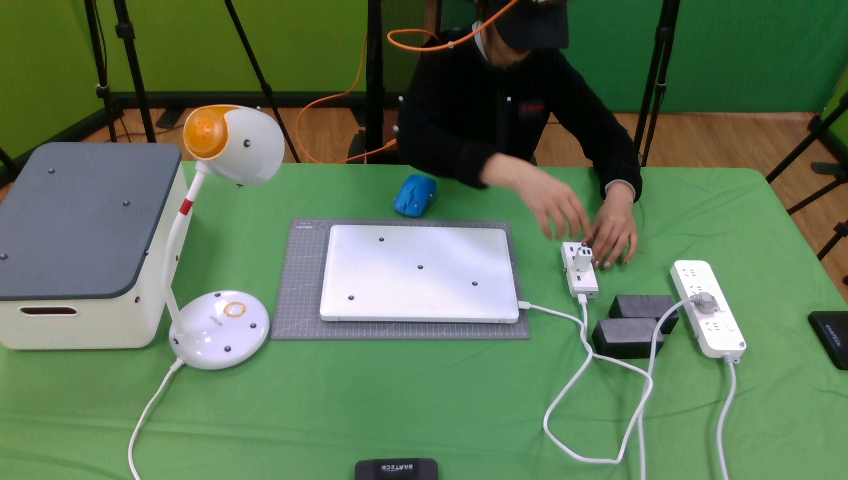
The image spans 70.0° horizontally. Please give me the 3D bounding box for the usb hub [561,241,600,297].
[{"bbox_3d":[0.300,0.055,1.162,0.049,0.025,0.124,3,46,-3],"label":"usb hub"}]

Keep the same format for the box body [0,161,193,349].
[{"bbox_3d":[-0.570,0.006,1.054,0.254,0.161,0.361,-1,46,-4],"label":"box body"}]

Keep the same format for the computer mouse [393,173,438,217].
[{"bbox_3d":[-0.018,-0.099,1.282,0.062,0.041,0.117,20,52,13],"label":"computer mouse"}]

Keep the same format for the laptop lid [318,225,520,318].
[{"bbox_3d":[-0.008,0.053,1.131,0.357,0.013,0.240,2,43,-2],"label":"laptop lid"}]

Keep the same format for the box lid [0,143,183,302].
[{"bbox_3d":[-0.567,-0.045,0.999,0.263,0.015,0.369,-1,46,-4],"label":"box lid"}]

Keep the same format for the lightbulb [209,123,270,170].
[{"bbox_3d":[-0.260,-0.135,0.847,0.059,0.108,0.059,-4,79,20],"label":"lightbulb"}]

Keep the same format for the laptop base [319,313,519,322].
[{"bbox_3d":[-0.009,0.063,1.137,0.354,0.023,0.234,1,42,-3],"label":"laptop base"}]

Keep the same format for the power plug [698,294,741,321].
[{"bbox_3d":[0.515,0.127,1.070,0.035,0.053,0.072,-18,56,-7],"label":"power plug"}]

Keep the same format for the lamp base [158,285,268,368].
[{"bbox_3d":[-0.348,0.102,0.963,0.160,0.181,0.178,23,51,18],"label":"lamp base"}]

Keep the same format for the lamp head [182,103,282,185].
[{"bbox_3d":[-0.271,-0.133,0.825,0.112,0.112,0.123,20,8,15],"label":"lamp head"}]

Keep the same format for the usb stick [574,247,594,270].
[{"bbox_3d":[0.298,0.040,1.136,0.027,0.059,0.021,2,46,-4],"label":"usb stick"}]

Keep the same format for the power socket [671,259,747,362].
[{"bbox_3d":[0.517,0.119,1.108,0.072,0.033,0.225,0,46,-2],"label":"power socket"}]
